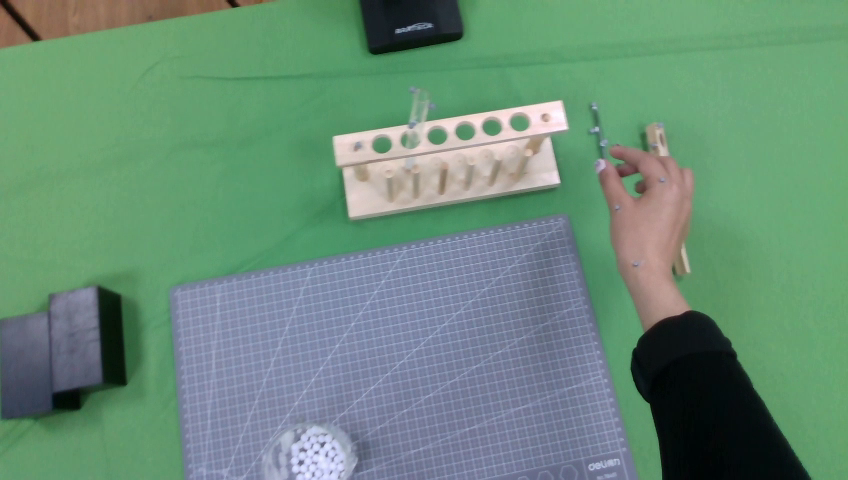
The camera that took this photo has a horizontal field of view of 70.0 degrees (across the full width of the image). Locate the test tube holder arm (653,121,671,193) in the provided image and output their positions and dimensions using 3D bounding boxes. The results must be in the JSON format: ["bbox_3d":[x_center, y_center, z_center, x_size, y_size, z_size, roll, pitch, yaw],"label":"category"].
[{"bbox_3d":[0.270,-0.095,0.701,0.010,0.015,0.087,5,72,-30],"label":"test tube holder arm"}]

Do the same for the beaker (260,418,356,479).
[{"bbox_3d":[-0.102,0.206,0.576,0.084,0.101,0.073,-6,75,-2],"label":"beaker"}]

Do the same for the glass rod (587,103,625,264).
[{"bbox_3d":[0.208,-0.068,0.698,0.008,0.008,0.198,-7,75,-2],"label":"glass rod"}]

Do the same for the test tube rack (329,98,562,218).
[{"bbox_3d":[0.026,-0.087,0.664,0.242,0.085,0.066,-10,75,-3],"label":"test tube rack"}]

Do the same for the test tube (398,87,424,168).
[{"bbox_3d":[-0.015,-0.110,0.619,0.017,0.151,0.017,2,71,-6],"label":"test tube"}]

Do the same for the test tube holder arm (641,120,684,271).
[{"bbox_3d":[0.269,-0.053,0.686,0.013,0.015,0.177,4,73,-30],"label":"test tube holder arm"}]
